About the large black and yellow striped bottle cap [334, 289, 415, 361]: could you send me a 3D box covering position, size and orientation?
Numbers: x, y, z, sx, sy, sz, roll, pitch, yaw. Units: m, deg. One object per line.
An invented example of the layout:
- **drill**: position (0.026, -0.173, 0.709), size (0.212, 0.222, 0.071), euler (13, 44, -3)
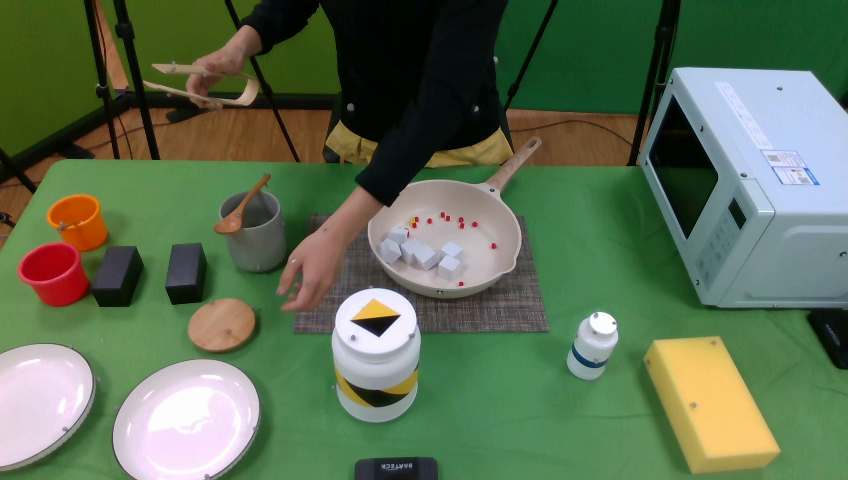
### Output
- **large black and yellow striped bottle cap**: position (-0.069, 0.117, 0.850), size (0.115, 0.019, 0.114), euler (2, 45, -2)

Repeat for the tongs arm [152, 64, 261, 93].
- **tongs arm**: position (-0.372, -0.282, 1.076), size (0.026, 0.051, 0.384), euler (25, 17, 0)

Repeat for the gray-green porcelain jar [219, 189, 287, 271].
- **gray-green porcelain jar**: position (-0.310, -0.014, 1.114), size (0.106, 0.127, 0.105), euler (2, 46, -2)

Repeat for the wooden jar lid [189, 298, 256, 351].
- **wooden jar lid**: position (-0.342, 0.145, 1.033), size (0.108, 0.021, 0.107), euler (3, 45, -2)

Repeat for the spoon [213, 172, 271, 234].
- **spoon**: position (-0.312, -0.069, 1.069), size (0.041, 0.022, 0.193), euler (9, 43, 11)

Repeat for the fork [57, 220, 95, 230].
- **fork**: position (-0.624, -0.027, 1.086), size (0.028, 0.207, 0.018), euler (-2, 91, -17)

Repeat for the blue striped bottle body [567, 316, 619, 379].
- **blue striped bottle body**: position (0.276, 0.168, 0.984), size (0.063, 0.121, 0.062), euler (2, 46, -2)

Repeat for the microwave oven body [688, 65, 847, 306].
- **microwave oven body**: position (0.669, -0.111, 1.176), size (0.326, 0.261, 0.439), euler (0, 46, -3)

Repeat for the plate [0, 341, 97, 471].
- **plate**: position (-0.599, 0.247, 0.904), size (0.209, 0.038, 0.208), euler (2, 47, -2)

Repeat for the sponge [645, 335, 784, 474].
- **sponge**: position (0.449, 0.253, 0.956), size (0.118, 0.061, 0.205), euler (-4, 46, -7)

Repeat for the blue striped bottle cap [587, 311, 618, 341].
- **blue striped bottle cap**: position (0.279, 0.134, 0.946), size (0.044, 0.021, 0.044), euler (2, 45, -2)

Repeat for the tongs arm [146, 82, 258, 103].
- **tongs arm**: position (-0.381, -0.264, 1.081), size (0.028, 0.028, 0.387), euler (22, 12, 1)

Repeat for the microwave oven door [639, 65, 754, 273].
- **microwave oven door**: position (0.522, -0.147, 1.193), size (0.039, 0.245, 0.353), euler (0, 47, -3)

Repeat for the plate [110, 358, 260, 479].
- **plate**: position (-0.349, 0.273, 0.899), size (0.208, 0.039, 0.206), euler (2, 46, -2)

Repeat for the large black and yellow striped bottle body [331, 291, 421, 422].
- **large black and yellow striped bottle body**: position (-0.071, 0.175, 0.911), size (0.131, 0.185, 0.130), euler (2, 47, -2)

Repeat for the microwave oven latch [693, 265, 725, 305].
- **microwave oven latch**: position (0.523, 0.081, 1.115), size (0.030, 0.029, 0.078), euler (2, 46, -1)

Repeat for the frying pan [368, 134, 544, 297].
- **frying pan**: position (0.104, -0.069, 1.205), size (0.305, 0.103, 0.487), euler (32, 61, 23)
